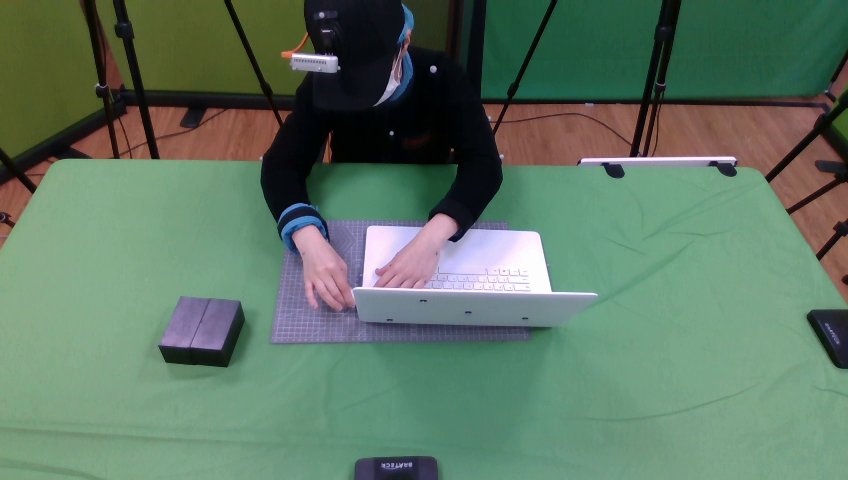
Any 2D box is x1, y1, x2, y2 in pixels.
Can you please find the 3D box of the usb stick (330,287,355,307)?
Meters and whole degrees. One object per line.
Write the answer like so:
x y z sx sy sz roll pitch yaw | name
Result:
-0.135 0.102 1.068 0.059 0.027 0.021 14 47 -12 | usb stick

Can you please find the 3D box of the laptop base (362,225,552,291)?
0.061 0.063 1.145 0.354 0.023 0.234 2 43 -3 | laptop base

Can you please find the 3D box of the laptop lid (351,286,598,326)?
0.069 0.109 0.953 0.357 0.242 0.013 2 71 -4 | laptop lid
